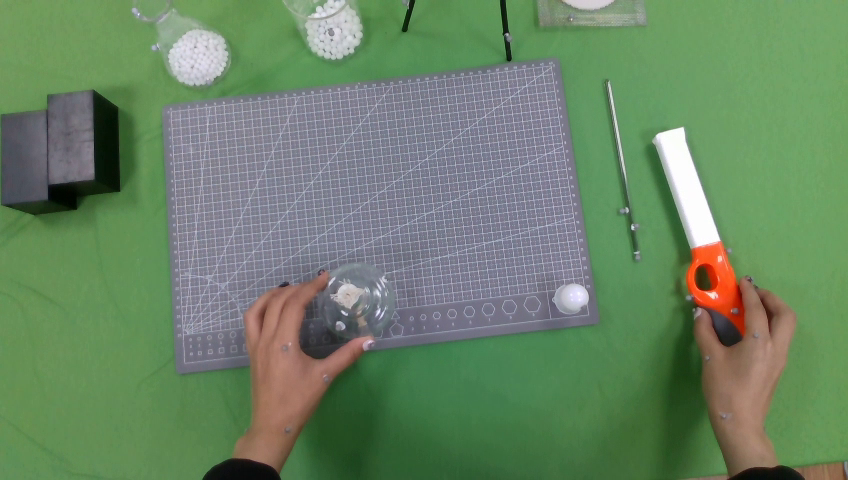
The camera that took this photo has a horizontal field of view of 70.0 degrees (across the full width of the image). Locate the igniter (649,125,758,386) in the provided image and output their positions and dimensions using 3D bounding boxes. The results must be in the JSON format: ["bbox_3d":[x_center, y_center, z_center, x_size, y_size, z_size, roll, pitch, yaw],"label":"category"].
[{"bbox_3d":[0.292,0.013,0.633,0.057,0.025,0.275,-14,81,-1],"label":"igniter"}]

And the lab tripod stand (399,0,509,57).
[{"bbox_3d":[0.041,-0.268,0.630,0.148,0.132,0.148,0,83,2],"label":"lab tripod stand"}]

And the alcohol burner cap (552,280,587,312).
[{"bbox_3d":[0.151,0.056,0.623,0.034,0.048,0.033,0,81,1],"label":"alcohol burner cap"}]

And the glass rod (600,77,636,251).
[{"bbox_3d":[0.212,-0.085,0.662,0.008,0.008,0.199,-7,82,0],"label":"glass rod"}]

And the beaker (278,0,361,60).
[{"bbox_3d":[-0.106,-0.246,0.648,0.084,0.100,0.074,-33,82,-4],"label":"beaker"}]

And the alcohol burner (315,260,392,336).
[{"bbox_3d":[-0.071,0.055,0.593,0.078,0.119,0.077,0,80,1],"label":"alcohol burner"}]

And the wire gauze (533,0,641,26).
[{"bbox_3d":[0.183,-0.303,0.695,0.125,0.011,0.121,-2,83,0],"label":"wire gauze"}]

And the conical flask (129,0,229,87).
[{"bbox_3d":[-0.261,-0.218,0.636,0.075,0.122,0.075,0,81,2],"label":"conical flask"}]
